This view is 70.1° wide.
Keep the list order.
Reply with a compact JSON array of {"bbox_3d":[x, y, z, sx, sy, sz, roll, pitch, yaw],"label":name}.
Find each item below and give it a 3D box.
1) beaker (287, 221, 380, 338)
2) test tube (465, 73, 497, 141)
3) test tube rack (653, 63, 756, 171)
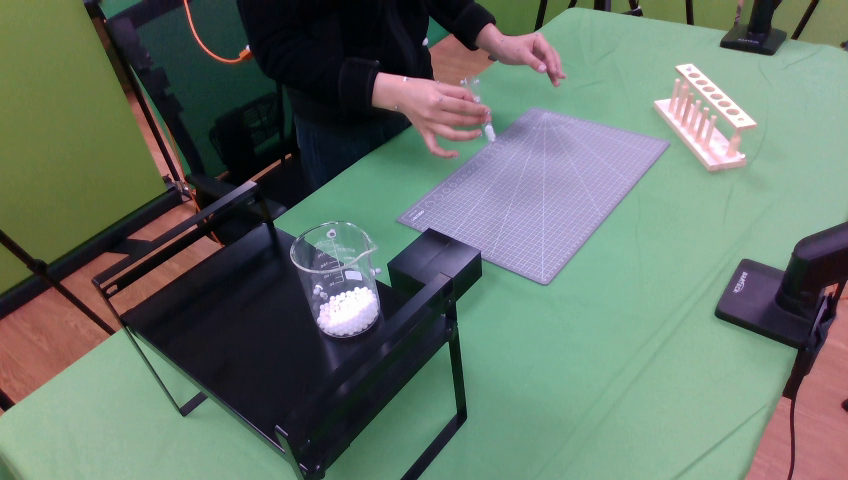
[{"bbox_3d":[-0.083,0.042,0.602,0.084,0.101,0.073,-5,41,3],"label":"beaker"},{"bbox_3d":[0.091,-0.205,0.948,0.017,0.151,0.017,-10,58,17],"label":"test tube"},{"bbox_3d":[0.510,-0.233,1.120,0.067,0.085,0.241,-9,41,-1],"label":"test tube rack"}]
